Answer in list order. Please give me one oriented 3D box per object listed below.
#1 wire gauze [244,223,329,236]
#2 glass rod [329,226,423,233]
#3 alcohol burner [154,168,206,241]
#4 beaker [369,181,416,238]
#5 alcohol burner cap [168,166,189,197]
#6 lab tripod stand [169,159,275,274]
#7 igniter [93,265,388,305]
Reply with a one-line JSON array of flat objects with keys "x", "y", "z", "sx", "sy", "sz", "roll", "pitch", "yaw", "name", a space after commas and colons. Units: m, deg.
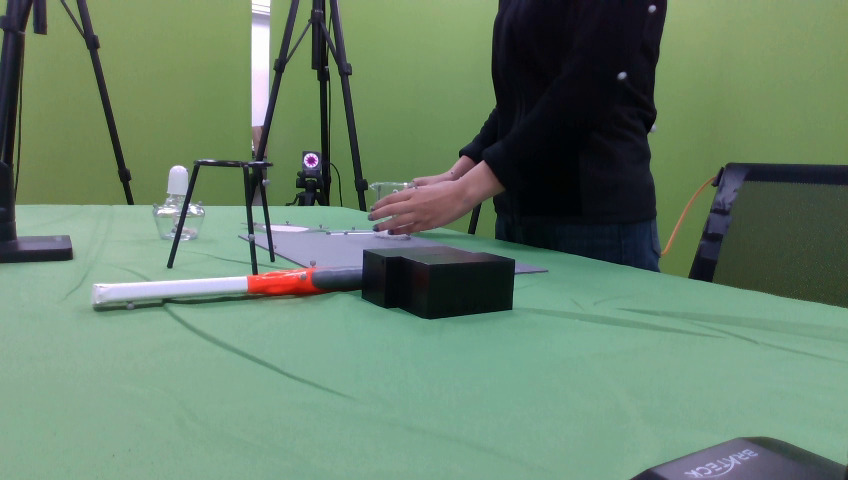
[{"x": -0.266, "y": -0.024, "z": 1.156, "sx": 0.124, "sy": 0.011, "sz": 0.122, "roll": 12, "pitch": 12, "yaw": 40, "name": "wire gauze"}, {"x": -0.087, "y": -0.020, "z": 1.148, "sx": 0.201, "sy": 0.008, "sz": 0.008, "roll": -3, "pitch": 9, "yaw": -32, "name": "glass rod"}, {"x": -0.393, "y": -0.059, "z": 0.974, "sx": 0.078, "sy": 0.119, "sz": 0.078, "roll": 1, "pitch": 8, "yaw": 0, "name": "alcohol burner"}, {"x": -0.057, "y": -0.056, "z": 1.090, "sx": 0.084, "sy": 0.100, "sz": 0.074, "roll": 2, "pitch": 7, "yaw": 0, "name": "beaker"}, {"x": -0.392, "y": -0.095, "z": 0.970, "sx": 0.034, "sy": 0.048, "sz": 0.034, "roll": 7, "pitch": 7, "yaw": -1, "name": "alcohol burner cap"}, {"x": -0.230, "y": -0.030, "z": 0.724, "sx": 0.148, "sy": 0.131, "sz": 0.148, "roll": 1, "pitch": 9, "yaw": 0, "name": "lab tripod stand"}, {"x": -0.164, "y": 0.042, "z": 0.589, "sx": 0.278, "sy": 0.025, "sz": 0.057, "roll": -2, "pitch": -6, "yaw": -31, "name": "igniter"}]
